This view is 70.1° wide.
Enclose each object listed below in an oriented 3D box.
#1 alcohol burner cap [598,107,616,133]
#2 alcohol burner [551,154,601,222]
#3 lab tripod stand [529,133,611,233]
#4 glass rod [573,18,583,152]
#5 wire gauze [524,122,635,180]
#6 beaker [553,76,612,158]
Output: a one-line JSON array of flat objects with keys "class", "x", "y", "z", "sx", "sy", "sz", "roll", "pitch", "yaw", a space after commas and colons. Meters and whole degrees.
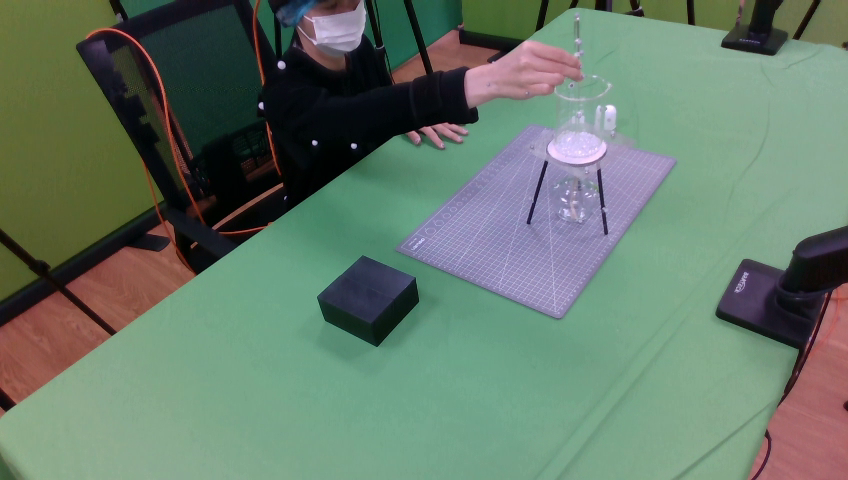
[{"class": "alcohol burner cap", "x": 0.361, "y": -0.239, "z": 1.189, "sx": 0.034, "sy": 0.048, "sz": 0.033, "roll": -4, "pitch": 40, "yaw": 4}, {"class": "alcohol burner", "x": 0.244, "y": -0.088, "z": 0.966, "sx": 0.078, "sy": 0.119, "sz": 0.077, "roll": -3, "pitch": 40, "yaw": 3}, {"class": "lab tripod stand", "x": 0.236, "y": -0.089, "z": 0.953, "sx": 0.148, "sy": 0.132, "sz": 0.147, "roll": -5, "pitch": 42, "yaw": 5}, {"class": "glass rod", "x": 0.213, "y": -0.207, "z": 0.835, "sx": 0.008, "sy": 0.201, "sz": 0.008, "roll": -9, "pitch": 38, "yaw": 7}, {"class": "wire gauze", "x": 0.233, "y": -0.142, "z": 0.913, "sx": 0.122, "sy": 0.011, "sz": 0.124, "roll": -31, "pitch": 42, "yaw": -26}, {"class": "beaker", "x": 0.230, "y": -0.178, "z": 0.882, "sx": 0.084, "sy": 0.101, "sz": 0.073, "roll": -9, "pitch": 41, "yaw": 1}]
